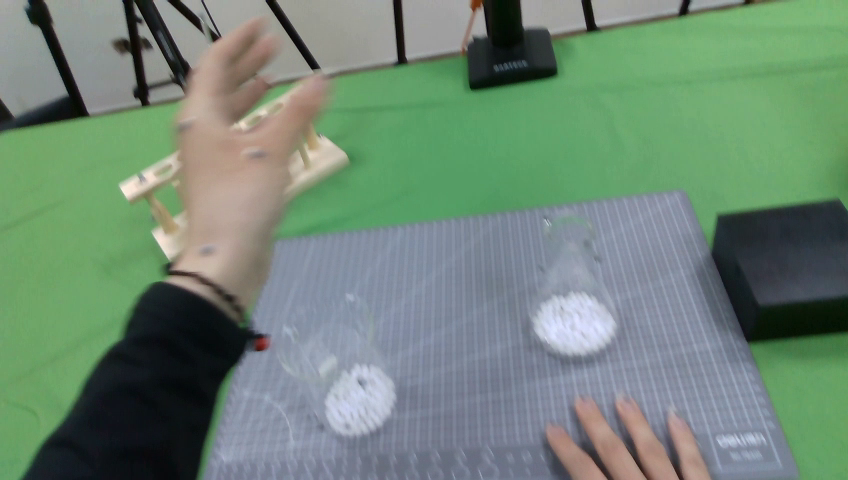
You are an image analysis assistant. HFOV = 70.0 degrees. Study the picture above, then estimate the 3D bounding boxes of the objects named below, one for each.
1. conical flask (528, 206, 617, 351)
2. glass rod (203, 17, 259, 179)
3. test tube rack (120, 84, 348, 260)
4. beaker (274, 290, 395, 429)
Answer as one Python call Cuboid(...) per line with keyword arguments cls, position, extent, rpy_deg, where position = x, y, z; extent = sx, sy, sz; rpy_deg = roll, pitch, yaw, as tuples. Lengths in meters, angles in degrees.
Cuboid(cls="conical flask", position=(0.118, 0.029, 0.490), extent=(0.075, 0.123, 0.074), rpy_deg=(-8, 45, 8))
Cuboid(cls="glass rod", position=(-0.218, -0.155, 0.696), extent=(0.008, 0.201, 0.008), rpy_deg=(-5, 38, 4))
Cuboid(cls="test tube rack", position=(-0.218, -0.085, 0.722), extent=(0.242, 0.086, 0.066), rpy_deg=(-34, 48, -18))
Cuboid(cls="beaker", position=(-0.065, 0.098, 0.488), extent=(0.073, 0.101, 0.083), rpy_deg=(18, 53, 29))
